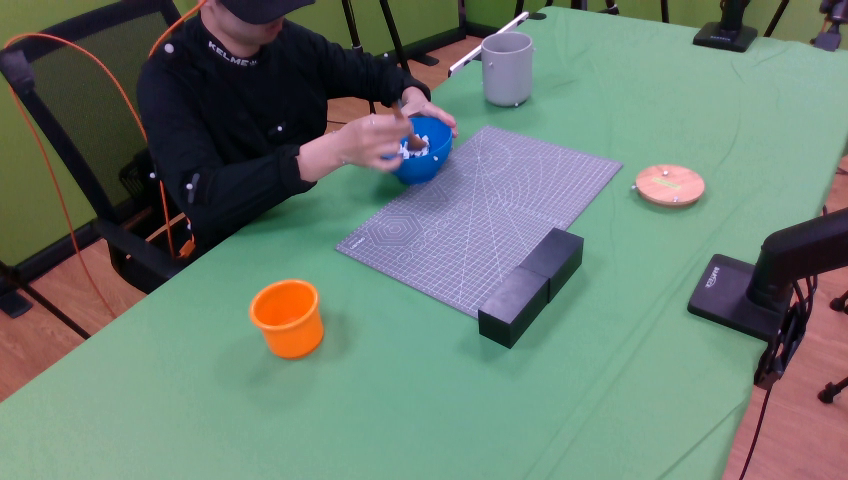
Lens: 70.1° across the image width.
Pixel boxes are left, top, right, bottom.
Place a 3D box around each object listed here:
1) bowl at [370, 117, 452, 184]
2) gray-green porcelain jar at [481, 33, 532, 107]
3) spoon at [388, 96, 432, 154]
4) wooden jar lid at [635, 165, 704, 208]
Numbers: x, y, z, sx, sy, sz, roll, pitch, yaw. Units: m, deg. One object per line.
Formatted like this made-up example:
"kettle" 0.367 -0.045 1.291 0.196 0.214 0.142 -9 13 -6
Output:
"bowl" -0.018 -0.155 1.106 0.151 0.077 0.150 -6 39 5
"gray-green porcelain jar" 0.175 -0.355 1.278 0.106 0.127 0.105 -4 41 4
"spoon" -0.027 -0.186 0.999 0.041 0.195 0.021 -20 65 9
"wooden jar lid" 0.410 -0.089 1.014 0.108 0.021 0.108 -5 42 5
